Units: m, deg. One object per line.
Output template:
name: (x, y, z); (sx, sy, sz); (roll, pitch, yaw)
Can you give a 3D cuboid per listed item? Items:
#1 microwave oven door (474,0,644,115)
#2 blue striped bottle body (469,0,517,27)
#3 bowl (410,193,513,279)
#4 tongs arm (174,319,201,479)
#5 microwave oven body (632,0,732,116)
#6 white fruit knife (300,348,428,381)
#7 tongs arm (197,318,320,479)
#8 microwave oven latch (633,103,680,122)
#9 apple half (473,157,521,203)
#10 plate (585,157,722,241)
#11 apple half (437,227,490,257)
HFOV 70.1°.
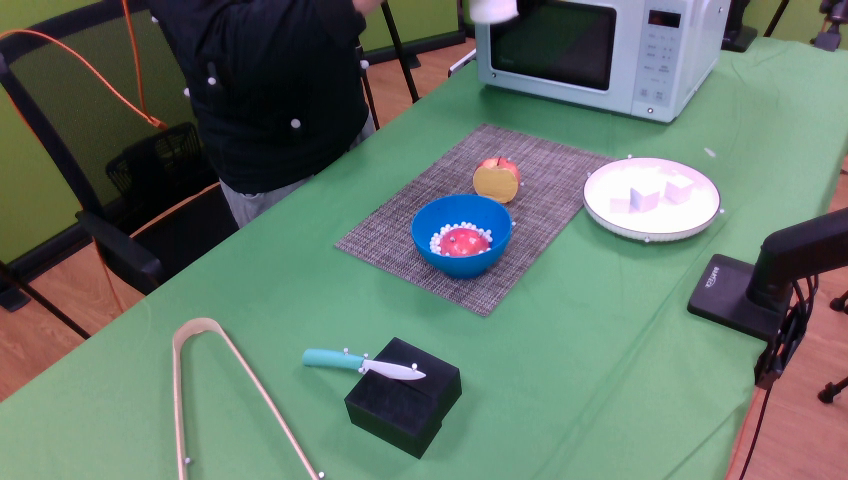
microwave oven door: (0.257, -0.396, 1.199); (0.353, 0.245, 0.039); (21, 48, 29)
blue striped bottle body: (0.085, -0.343, 0.777); (0.063, 0.121, 0.063); (-7, 36, 6)
bowl: (0.058, 0.005, 0.905); (0.151, 0.077, 0.150); (-4, 40, 4)
tongs arm: (-0.272, 0.234, 0.723); (0.051, 0.026, 0.381); (-18, 40, -15)
microwave oven body: (0.377, -0.462, 1.267); (0.438, 0.261, 0.327); (21, 48, 30)
white fruit knife: (-0.080, 0.154, 0.748); (0.206, 0.027, 0.016); (1, 20, 34)
tongs arm: (-0.200, 0.207, 0.751); (0.028, 0.028, 0.384); (-31, 45, -22)
microwave oven latch: (0.443, -0.249, 1.157); (0.078, 0.029, 0.030); (19, 48, 29)
apple half: (0.128, -0.107, 1.030); (0.080, 0.075, 0.053); (4, 38, 19)
plate: (0.367, -0.063, 0.979); (0.207, 0.039, 0.206); (-4, 41, 4)
apple half: (0.056, 0.002, 0.902); (0.081, 0.033, 0.081); (-3, 42, 3)
